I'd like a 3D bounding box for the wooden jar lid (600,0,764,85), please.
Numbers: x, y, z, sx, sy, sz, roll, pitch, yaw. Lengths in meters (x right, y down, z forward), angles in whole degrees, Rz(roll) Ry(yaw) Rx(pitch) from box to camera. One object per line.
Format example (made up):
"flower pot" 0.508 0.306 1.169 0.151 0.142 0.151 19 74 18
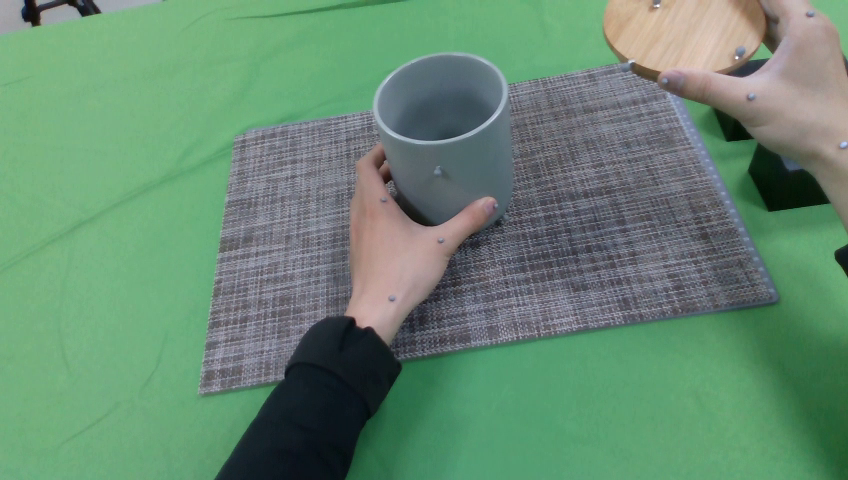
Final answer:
"wooden jar lid" 0.181 -0.151 0.431 0.108 0.021 0.107 -4 61 7

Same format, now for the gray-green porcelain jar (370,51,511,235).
"gray-green porcelain jar" 0.019 -0.074 0.510 0.106 0.128 0.105 -5 53 7
